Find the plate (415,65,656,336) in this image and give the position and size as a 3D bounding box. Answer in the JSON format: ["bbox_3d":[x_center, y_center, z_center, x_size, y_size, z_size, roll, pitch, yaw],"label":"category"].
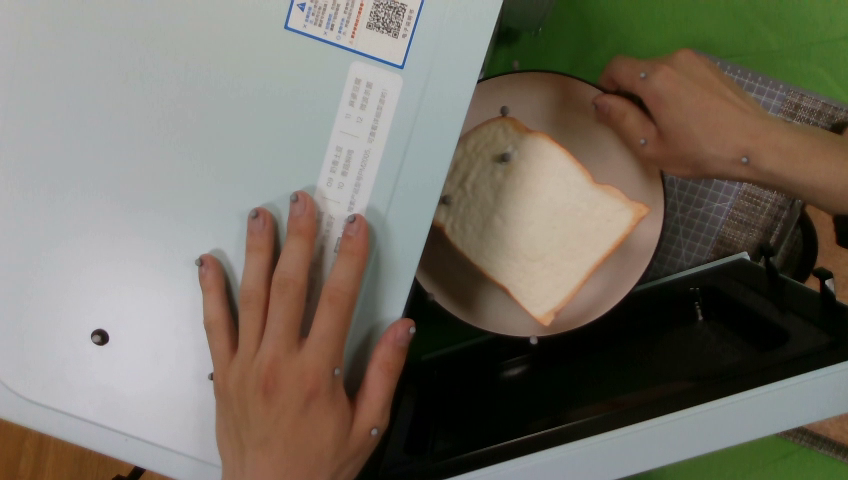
[{"bbox_3d":[0.073,-0.029,0.482,0.207,0.039,0.208,1,99,5],"label":"plate"}]

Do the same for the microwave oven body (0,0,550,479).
[{"bbox_3d":[-0.109,-0.088,0.452,0.326,0.259,0.442,18,102,1],"label":"microwave oven body"}]

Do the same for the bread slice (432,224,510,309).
[{"bbox_3d":[0.054,-0.022,0.484,0.105,0.019,0.131,-36,93,7],"label":"bread slice"}]

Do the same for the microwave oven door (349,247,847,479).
[{"bbox_3d":[0.122,0.101,0.463,0.355,0.243,0.039,-20,97,8],"label":"microwave oven door"}]

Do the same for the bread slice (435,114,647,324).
[{"bbox_3d":[0.066,-0.020,0.423,0.134,0.018,0.107,36,101,8],"label":"bread slice"}]

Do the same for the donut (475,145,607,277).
[{"bbox_3d":[0.087,-0.022,0.456,0.099,0.048,0.099,0,96,-1],"label":"donut"}]

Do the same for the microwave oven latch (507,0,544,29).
[{"bbox_3d":[0.094,-0.222,0.509,0.030,0.029,0.079,19,102,1],"label":"microwave oven latch"}]
